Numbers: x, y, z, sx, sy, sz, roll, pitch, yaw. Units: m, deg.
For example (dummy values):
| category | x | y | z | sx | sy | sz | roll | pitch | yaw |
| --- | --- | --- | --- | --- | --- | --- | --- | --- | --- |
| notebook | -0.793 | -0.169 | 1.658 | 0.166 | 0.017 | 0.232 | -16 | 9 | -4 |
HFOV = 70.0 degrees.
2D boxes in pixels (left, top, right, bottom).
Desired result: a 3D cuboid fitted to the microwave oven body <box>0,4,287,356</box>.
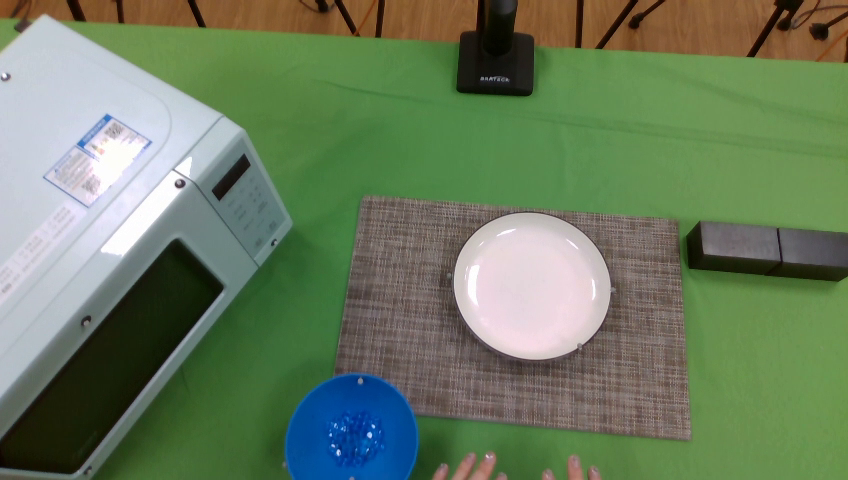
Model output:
| category | x | y | z | sx | sy | sz | roll | pitch | yaw |
| --- | --- | --- | --- | --- | --- | --- | --- | --- | --- |
| microwave oven body | -0.436 | 0.012 | 0.708 | 0.324 | 0.262 | 0.440 | 30 | 72 | 12 |

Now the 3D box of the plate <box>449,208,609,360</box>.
| category | x | y | z | sx | sy | sz | roll | pitch | yaw |
| --- | --- | --- | --- | --- | --- | --- | --- | --- | --- |
| plate | 0.136 | 0.058 | 0.801 | 0.208 | 0.039 | 0.206 | 0 | 67 | 1 |

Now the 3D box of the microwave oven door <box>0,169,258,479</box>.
| category | x | y | z | sx | sy | sz | roll | pitch | yaw |
| --- | --- | --- | --- | --- | --- | --- | --- | --- | --- |
| microwave oven door | -0.336 | 0.114 | 0.658 | 0.039 | 0.245 | 0.355 | 30 | 71 | 14 |

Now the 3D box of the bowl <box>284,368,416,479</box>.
| category | x | y | z | sx | sy | sz | roll | pitch | yaw |
| --- | --- | --- | --- | --- | --- | --- | --- | --- | --- |
| bowl | -0.082 | 0.233 | 0.714 | 0.151 | 0.077 | 0.150 | 0 | 67 | 1 |

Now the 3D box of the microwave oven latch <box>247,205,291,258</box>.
| category | x | y | z | sx | sy | sz | roll | pitch | yaw |
| --- | --- | --- | --- | --- | --- | --- | --- | --- | --- |
| microwave oven latch | -0.213 | -0.016 | 0.821 | 0.030 | 0.030 | 0.079 | 32 | 72 | 13 |
